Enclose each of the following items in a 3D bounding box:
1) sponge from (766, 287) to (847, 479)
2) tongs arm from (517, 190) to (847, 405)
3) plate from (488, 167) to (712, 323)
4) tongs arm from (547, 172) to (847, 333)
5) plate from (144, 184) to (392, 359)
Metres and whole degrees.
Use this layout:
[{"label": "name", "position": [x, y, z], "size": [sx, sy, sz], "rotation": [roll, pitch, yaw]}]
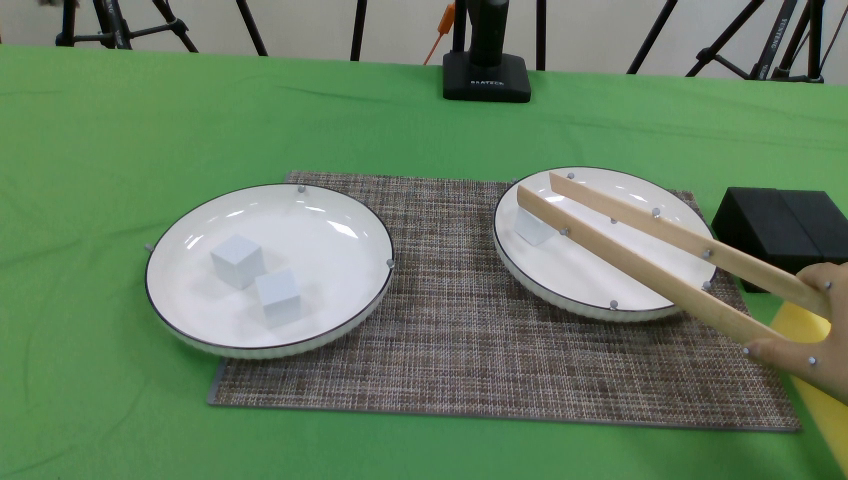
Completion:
[{"label": "sponge", "position": [0.361, 0.129, 0.446], "size": [0.118, 0.061, 0.204], "rotation": [0, 42, -3]}, {"label": "tongs arm", "position": [0.206, 0.043, 0.446], "size": [0.028, 0.028, 0.383], "rotation": [-28, 41, -26]}, {"label": "plate", "position": [0.163, 0.005, 0.581], "size": [0.208, 0.039, 0.205], "rotation": [2, 42, -2]}, {"label": "tongs arm", "position": [0.228, 0.030, 0.456], "size": [0.051, 0.027, 0.381], "rotation": [-33, 43, -27]}, {"label": "plate", "position": [-0.132, 0.026, 0.536], "size": [0.209, 0.038, 0.207], "rotation": [2, 42, -2]}]
